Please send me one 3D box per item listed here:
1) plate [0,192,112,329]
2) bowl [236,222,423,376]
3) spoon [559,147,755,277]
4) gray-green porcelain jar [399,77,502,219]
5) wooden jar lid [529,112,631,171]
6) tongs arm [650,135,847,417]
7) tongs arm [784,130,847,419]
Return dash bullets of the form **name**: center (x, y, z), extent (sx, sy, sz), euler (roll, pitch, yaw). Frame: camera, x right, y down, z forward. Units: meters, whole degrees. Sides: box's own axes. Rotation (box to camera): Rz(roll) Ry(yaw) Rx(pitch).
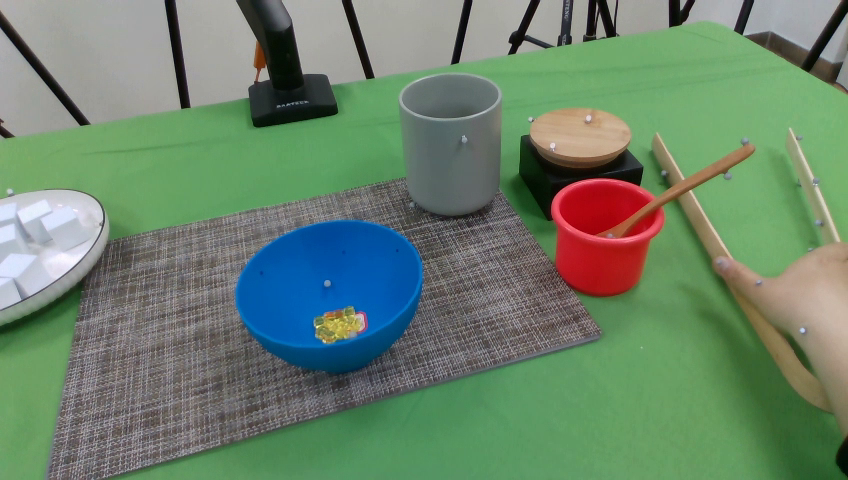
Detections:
- **plate**: center (-0.424, 0.025, 0.618), extent (0.209, 0.038, 0.207), euler (-3, 40, 3)
- **bowl**: center (-0.073, 0.061, 0.510), extent (0.151, 0.077, 0.150), euler (-2, 39, 2)
- **spoon**: center (0.203, -0.022, 0.542), extent (0.194, 0.022, 0.041), euler (-40, 30, 28)
- **gray-green porcelain jar**: center (0.030, -0.094, 0.651), extent (0.106, 0.127, 0.105), euler (-2, 40, 2)
- **wooden jar lid**: center (0.171, -0.108, 0.667), extent (0.108, 0.021, 0.107), euler (-3, 40, 3)
- **tongs arm**: center (0.290, 0.003, 0.595), extent (0.028, 0.028, 0.383), euler (-2, 40, -1)
- **tongs arm**: center (0.372, 0.002, 0.583), extent (0.050, 0.027, 0.382), euler (4, 41, 11)
